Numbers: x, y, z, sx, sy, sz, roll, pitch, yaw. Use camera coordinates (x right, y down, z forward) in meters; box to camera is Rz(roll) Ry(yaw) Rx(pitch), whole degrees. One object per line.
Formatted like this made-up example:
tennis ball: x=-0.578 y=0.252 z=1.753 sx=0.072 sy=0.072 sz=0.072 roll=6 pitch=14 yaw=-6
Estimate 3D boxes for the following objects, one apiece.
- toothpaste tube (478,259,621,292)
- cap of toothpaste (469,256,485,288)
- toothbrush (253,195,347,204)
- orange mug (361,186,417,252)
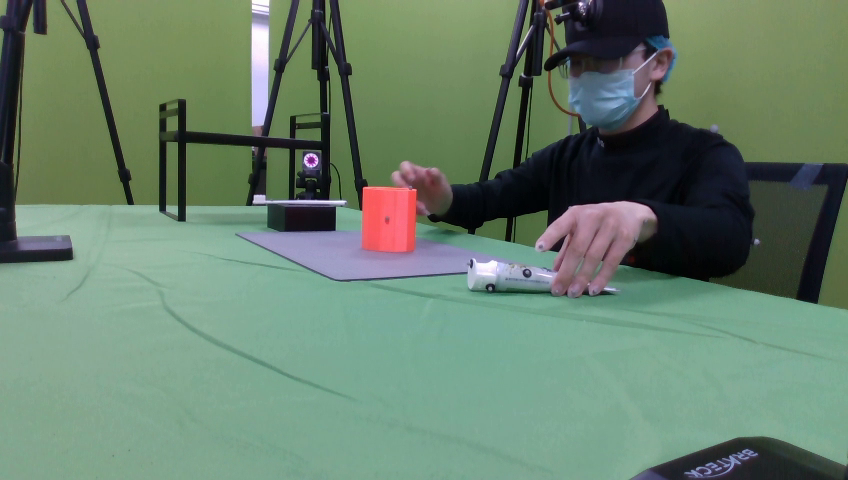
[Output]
toothpaste tube: x=0.135 y=0.044 z=0.678 sx=0.165 sy=0.034 sz=0.055 roll=5 pitch=11 yaw=-12
cap of toothpaste: x=0.058 y=0.035 z=0.663 sx=0.011 sy=0.037 sz=0.037 roll=5 pitch=7 yaw=-12
toothbrush: x=-0.234 y=-0.076 z=1.154 sx=0.183 sy=0.016 sz=0.014 roll=-1 pitch=4 yaw=-27
orange mug: x=-0.054 y=-0.039 z=0.962 sx=0.083 sy=0.101 sz=0.126 roll=2 pitch=12 yaw=0
